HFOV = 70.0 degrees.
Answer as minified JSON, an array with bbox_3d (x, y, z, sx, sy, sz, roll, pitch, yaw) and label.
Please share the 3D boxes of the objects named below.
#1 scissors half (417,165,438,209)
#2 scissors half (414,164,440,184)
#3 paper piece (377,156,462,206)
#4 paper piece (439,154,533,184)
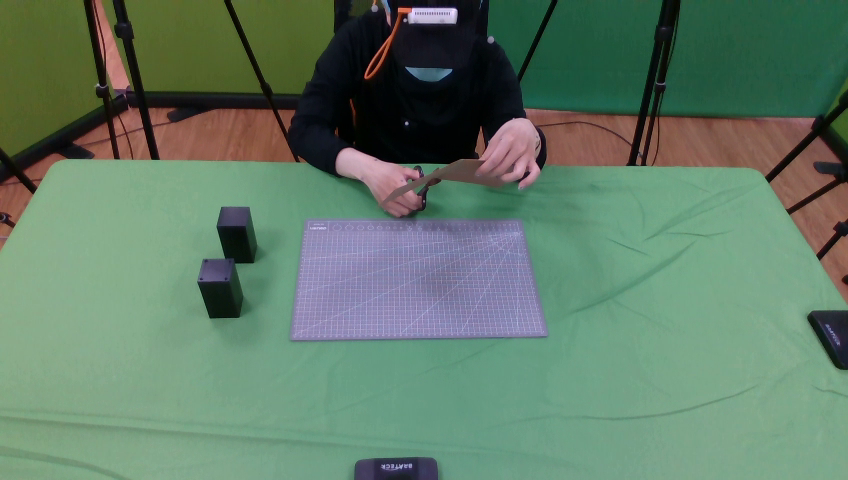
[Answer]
[{"bbox_3d":[0.008,-0.104,1.181,0.013,0.175,0.040,-4,68,-14],"label":"scissors half"},{"bbox_3d":[0.005,-0.127,1.183,0.013,0.040,0.174,-9,12,-14],"label":"scissors half"},{"bbox_3d":[-0.012,-0.102,1.054,0.136,0.135,0.004,-28,90,-20],"label":"paper piece"},{"bbox_3d":[0.106,-0.127,1.099,0.138,0.136,0.008,10,84,-17],"label":"paper piece"}]
